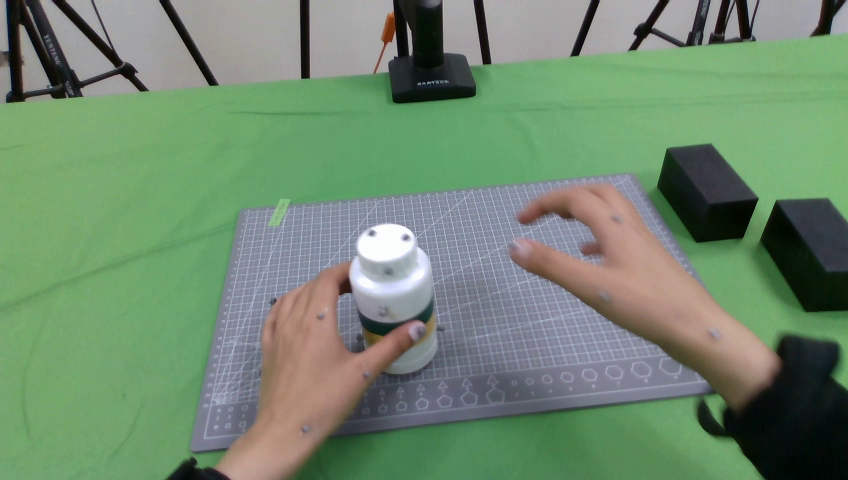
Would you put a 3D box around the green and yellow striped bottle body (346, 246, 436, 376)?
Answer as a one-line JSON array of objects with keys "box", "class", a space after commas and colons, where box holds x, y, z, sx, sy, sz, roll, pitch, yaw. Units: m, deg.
[{"box": [-0.026, 0.048, 0.483, 0.063, 0.121, 0.062, -4, 40, 4], "class": "green and yellow striped bottle body"}]

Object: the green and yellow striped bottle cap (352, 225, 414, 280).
[{"box": [-0.031, 0.009, 0.448, 0.045, 0.020, 0.045, -3, 38, 3], "class": "green and yellow striped bottle cap"}]
